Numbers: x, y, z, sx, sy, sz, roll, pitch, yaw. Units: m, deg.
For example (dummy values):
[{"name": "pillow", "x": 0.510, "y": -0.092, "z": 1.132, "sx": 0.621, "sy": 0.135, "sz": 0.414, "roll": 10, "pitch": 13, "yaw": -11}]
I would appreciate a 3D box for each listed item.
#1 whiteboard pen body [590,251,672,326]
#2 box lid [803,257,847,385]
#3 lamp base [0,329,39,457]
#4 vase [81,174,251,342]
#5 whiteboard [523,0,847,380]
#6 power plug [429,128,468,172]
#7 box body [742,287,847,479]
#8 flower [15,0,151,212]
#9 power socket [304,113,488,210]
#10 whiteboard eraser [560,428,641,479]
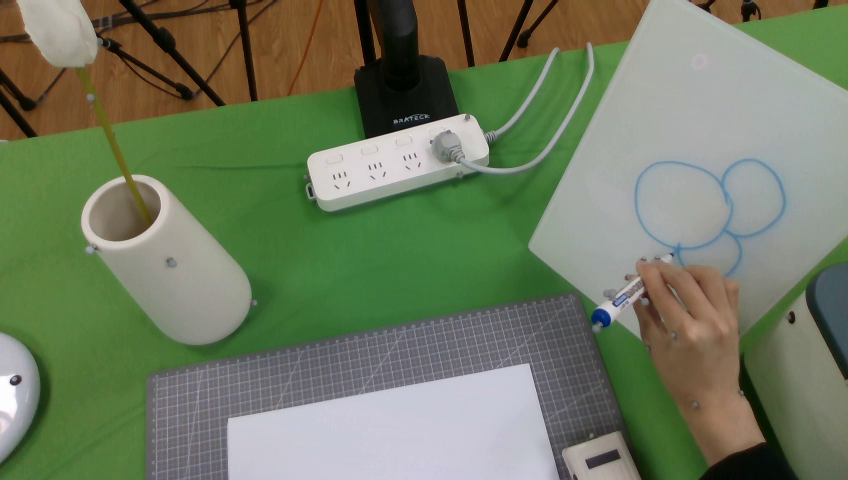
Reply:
[{"name": "whiteboard pen body", "x": 0.177, "y": 0.035, "z": 0.504, "sx": 0.017, "sy": 0.017, "sz": 0.141, "roll": 42, "pitch": 45, "yaw": 21}, {"name": "box lid", "x": 0.457, "y": 0.155, "z": 0.413, "sx": 0.263, "sy": 0.015, "sz": 0.368, "roll": -11, "pitch": 63, "yaw": -5}, {"name": "lamp base", "x": -0.471, "y": 0.118, "z": 0.523, "sx": 0.178, "sy": 0.182, "sz": 0.160, "roll": 19, "pitch": 63, "yaw": 14}, {"name": "vase", "x": -0.232, "y": 0.023, "z": 0.559, "sx": 0.098, "sy": 0.201, "sz": 0.097, "roll": -1, "pitch": 61, "yaw": 2}, {"name": "whiteboard", "x": 0.265, "y": -0.055, "z": 0.567, "sx": 0.215, "sy": 0.307, "sz": 0.144, "roll": 42, "pitch": 51, "yaw": 21}, {"name": "power plug", "x": 0.026, "y": -0.094, "z": 0.685, "sx": 0.035, "sy": 0.053, "sz": 0.072, "roll": -7, "pitch": 63, "yaw": -2}, {"name": "box body", "x": 0.459, "y": 0.193, "z": 0.477, "sx": 0.254, "sy": 0.161, "sz": 0.360, "roll": -11, "pitch": 62, "yaw": -5}, {"name": "flower", "x": -0.231, "y": -0.033, "z": 0.496, "sx": 0.038, "sy": 0.365, "sz": 0.043, "roll": -21, "pitch": 45, "yaw": -18}, {"name": "power socket", "x": -0.031, "y": -0.093, "z": 0.712, "sx": 0.227, "sy": 0.033, "sz": 0.071, "roll": -15, "pitch": 63, "yaw": -8}, {"name": "whiteboard eraser", "x": 0.166, "y": 0.226, "z": 0.530, "sx": 0.056, "sy": 0.042, "sz": 0.111, "roll": -15, "pitch": 62, "yaw": -9}]
